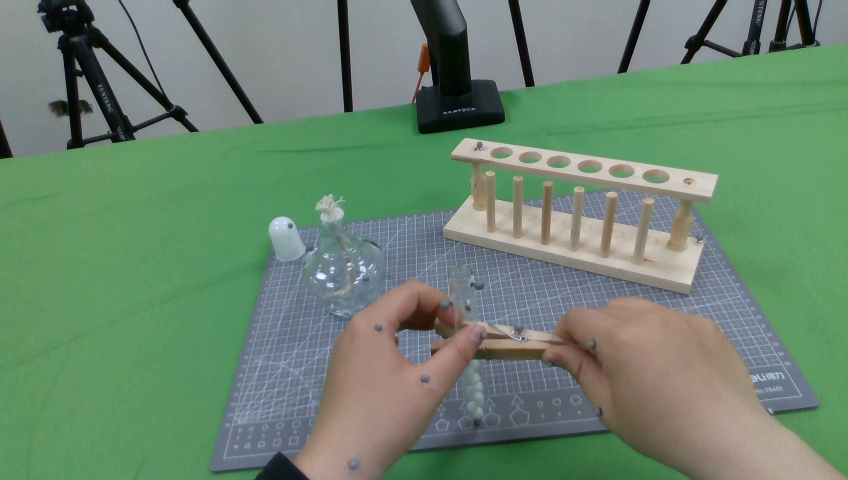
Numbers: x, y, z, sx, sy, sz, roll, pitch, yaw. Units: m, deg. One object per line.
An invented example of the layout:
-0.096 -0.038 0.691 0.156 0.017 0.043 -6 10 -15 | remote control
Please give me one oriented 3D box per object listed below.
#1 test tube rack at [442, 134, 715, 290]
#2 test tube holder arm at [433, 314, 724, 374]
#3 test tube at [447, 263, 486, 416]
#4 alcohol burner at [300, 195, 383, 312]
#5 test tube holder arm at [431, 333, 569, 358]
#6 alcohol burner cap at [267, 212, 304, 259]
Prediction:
0.135 -0.033 0.578 0.241 0.086 0.066 14 44 26 | test tube rack
0.093 0.065 0.384 0.178 0.015 0.013 5 56 14 | test tube holder arm
0.030 0.072 0.404 0.017 0.152 0.017 -5 42 5 | test tube
-0.077 0.008 0.548 0.078 0.120 0.077 -4 40 4 | alcohol burner
0.048 0.068 0.390 0.088 0.015 0.010 -4 54 8 | test tube holder arm
-0.148 -0.008 0.638 0.034 0.048 0.033 -4 40 4 | alcohol burner cap
